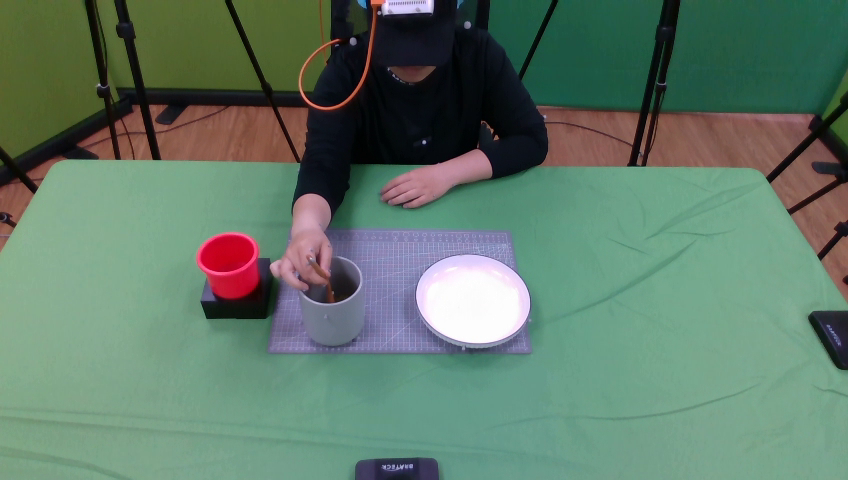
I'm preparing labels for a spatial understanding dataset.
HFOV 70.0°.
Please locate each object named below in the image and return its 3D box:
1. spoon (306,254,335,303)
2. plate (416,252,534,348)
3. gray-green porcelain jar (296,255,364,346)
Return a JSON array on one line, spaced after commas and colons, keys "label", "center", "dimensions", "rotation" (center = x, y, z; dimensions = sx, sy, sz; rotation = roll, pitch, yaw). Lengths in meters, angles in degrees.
[{"label": "spoon", "center": [-0.159, 0.071, 0.973], "dimensions": [0.021, 0.195, 0.041], "rotation": [-33, 60, -16]}, {"label": "plate", "center": [0.090, 0.109, 1.084], "dimensions": [0.208, 0.039, 0.206], "rotation": [2, 46, -2]}, {"label": "gray-green porcelain jar", "center": [-0.153, 0.106, 1.008], "dimensions": [0.106, 0.127, 0.105], "rotation": [2, 46, -2]}]
